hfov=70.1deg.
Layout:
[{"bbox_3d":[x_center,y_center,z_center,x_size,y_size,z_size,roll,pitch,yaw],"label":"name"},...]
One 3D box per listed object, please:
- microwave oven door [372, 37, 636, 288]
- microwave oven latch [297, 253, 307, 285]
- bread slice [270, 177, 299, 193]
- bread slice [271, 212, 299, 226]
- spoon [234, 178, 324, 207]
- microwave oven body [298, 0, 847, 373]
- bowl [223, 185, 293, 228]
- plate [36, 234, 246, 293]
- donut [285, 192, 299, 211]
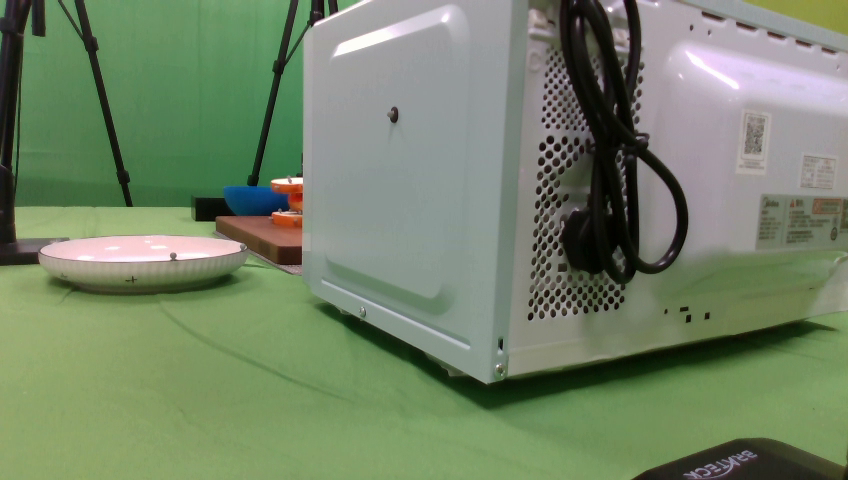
[{"bbox_3d":[0.109,-0.080,0.686,0.358,0.243,0.039,-2,9,-33],"label":"microwave oven door"},{"bbox_3d":[-0.082,0.027,0.582,0.079,0.029,0.030,-1,7,-32],"label":"microwave oven latch"},{"bbox_3d":[-0.195,-0.098,1.048,0.135,0.018,0.106,-10,13,-33],"label":"bread slice"},{"bbox_3d":[-0.197,-0.038,1.051,0.132,0.019,0.104,0,7,-31],"label":"bread slice"},{"bbox_3d":[-0.300,-0.103,1.266,0.194,0.021,0.041,-24,10,-24],"label":"spoon"},{"bbox_3d":[0.151,-0.055,0.542,0.444,0.260,0.324,-2,7,-33],"label":"microwave oven body"},{"bbox_3d":[-0.330,-0.068,1.230,0.151,0.077,0.151,3,8,0],"label":"bowl"},{"bbox_3d":[-0.305,0.026,0.668,0.208,0.039,0.207,2,7,0],"label":"plate"},{"bbox_3d":[-0.191,-0.069,1.055,0.099,0.048,0.099,3,6,0],"label":"donut"}]
